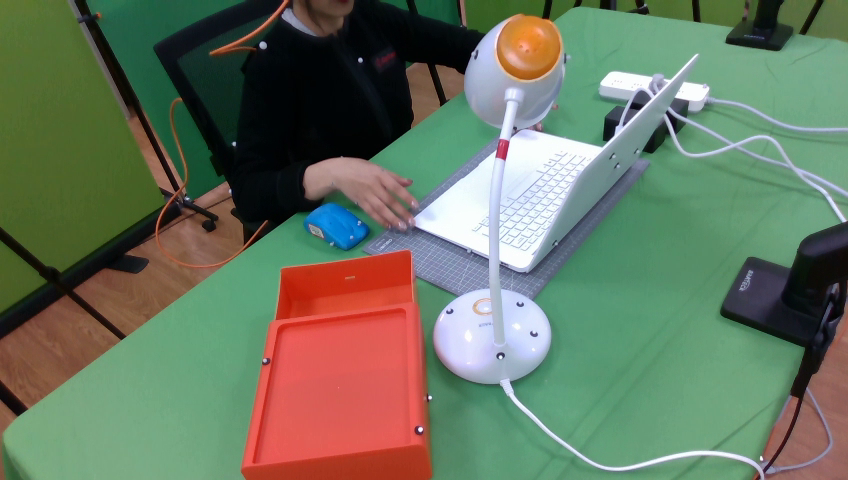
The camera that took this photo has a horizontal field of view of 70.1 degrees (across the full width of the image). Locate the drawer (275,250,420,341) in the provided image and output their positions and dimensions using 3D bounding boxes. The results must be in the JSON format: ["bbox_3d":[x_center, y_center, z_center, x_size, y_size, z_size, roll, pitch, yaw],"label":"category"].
[{"bbox_3d":[-0.104,0.117,0.825,0.194,0.073,0.210,-8,40,1],"label":"drawer"}]

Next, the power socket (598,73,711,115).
[{"bbox_3d":[0.470,-0.304,1.248,0.225,0.033,0.072,20,49,30],"label":"power socket"}]

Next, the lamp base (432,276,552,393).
[{"bbox_3d":[0.085,0.075,0.756,0.161,0.181,0.178,-14,44,-6],"label":"lamp base"}]

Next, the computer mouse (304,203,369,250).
[{"bbox_3d":[-0.151,-0.026,1.037,0.116,0.041,0.063,28,51,31],"label":"computer mouse"}]

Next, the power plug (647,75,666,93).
[{"bbox_3d":[0.457,-0.301,1.212,0.073,0.053,0.035,-36,46,-28],"label":"power plug"}]

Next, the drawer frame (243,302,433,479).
[{"bbox_3d":[-0.096,0.185,0.738,0.202,0.083,0.212,-8,40,1],"label":"drawer frame"}]

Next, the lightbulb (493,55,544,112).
[{"bbox_3d":[0.109,-0.180,0.679,0.059,0.059,0.107,-10,-2,-1],"label":"lightbulb"}]

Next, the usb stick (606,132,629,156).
[{"bbox_3d":[0.353,-0.174,1.109,0.021,0.027,0.059,22,49,35],"label":"usb stick"}]

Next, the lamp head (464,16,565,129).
[{"bbox_3d":[0.101,-0.184,0.655,0.112,0.112,0.123,-9,1,0],"label":"lamp head"}]

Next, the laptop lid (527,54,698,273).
[{"bbox_3d":[0.281,-0.113,0.896,0.013,0.242,0.358,38,55,17],"label":"laptop lid"}]

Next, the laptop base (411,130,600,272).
[{"bbox_3d":[0.175,-0.083,1.054,0.233,0.023,0.355,21,49,36],"label":"laptop base"}]
